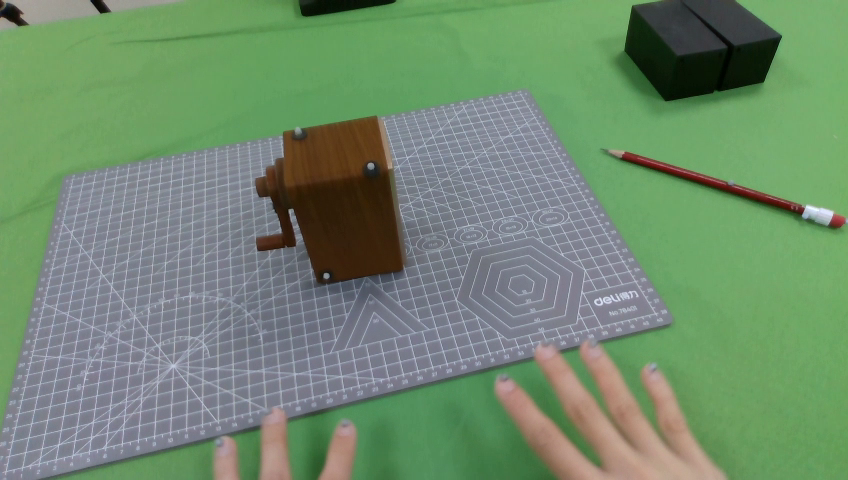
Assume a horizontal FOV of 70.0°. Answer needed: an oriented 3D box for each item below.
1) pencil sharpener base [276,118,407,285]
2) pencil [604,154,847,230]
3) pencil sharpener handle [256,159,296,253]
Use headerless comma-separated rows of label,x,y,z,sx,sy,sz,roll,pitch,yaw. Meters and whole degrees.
pencil sharpener base,-0.057,-0.024,0.438,0.077,0.108,0.060,-10,48,-4
pencil,0.243,-0.044,0.504,0.192,0.012,0.012,22,53,25
pencil sharpener handle,-0.108,-0.021,0.421,0.031,0.068,0.035,-10,31,-4
